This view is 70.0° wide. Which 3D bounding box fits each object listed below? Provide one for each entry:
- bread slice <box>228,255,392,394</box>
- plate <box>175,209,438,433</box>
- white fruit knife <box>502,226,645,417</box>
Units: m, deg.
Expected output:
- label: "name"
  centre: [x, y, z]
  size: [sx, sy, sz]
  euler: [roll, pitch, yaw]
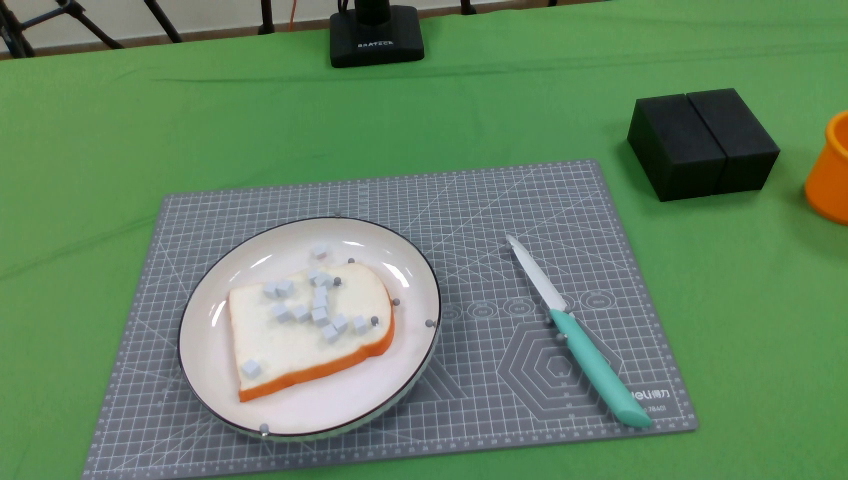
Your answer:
- label: "bread slice"
  centre: [-0.094, 0.058, 0.498]
  size: [0.132, 0.019, 0.103]
  euler: [-17, 51, -10]
- label: "plate"
  centre: [-0.091, 0.061, 0.493]
  size: [0.209, 0.038, 0.207]
  euler: [-1, 50, 2]
- label: "white fruit knife"
  centre: [0.113, 0.057, 0.501]
  size: [0.027, 0.016, 0.205]
  euler: [4, 40, -33]
